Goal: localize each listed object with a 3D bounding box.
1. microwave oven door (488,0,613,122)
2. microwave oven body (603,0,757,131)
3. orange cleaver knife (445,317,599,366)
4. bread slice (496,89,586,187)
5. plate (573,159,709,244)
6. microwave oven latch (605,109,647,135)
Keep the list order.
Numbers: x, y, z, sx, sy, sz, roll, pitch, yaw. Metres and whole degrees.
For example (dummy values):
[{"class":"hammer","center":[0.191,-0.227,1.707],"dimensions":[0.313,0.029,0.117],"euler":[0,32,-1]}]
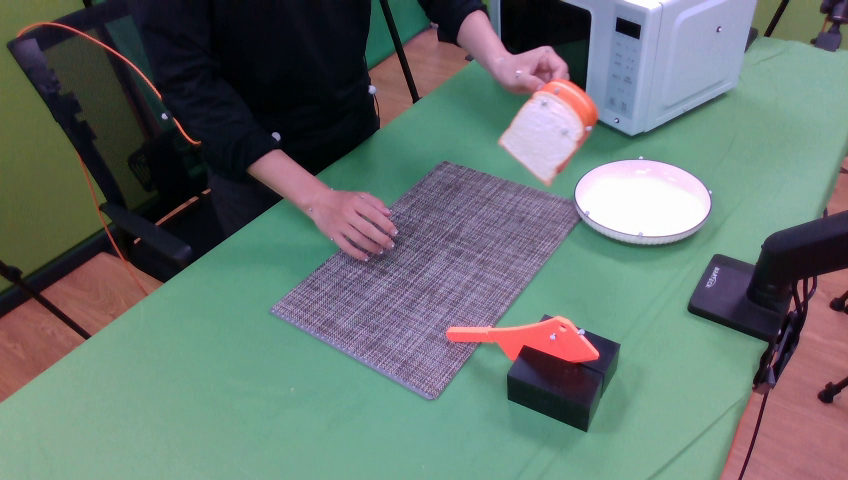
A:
[{"class":"microwave oven door","center":[0.250,-0.413,1.219],"dimensions":[0.039,0.245,0.352],"euler":[-27,44,-21]},{"class":"microwave oven body","center":[0.396,-0.448,1.248],"dimensions":[0.327,0.261,0.437],"euler":[-27,44,-21]},{"class":"orange cleaver knife","center":[0.115,0.129,0.751],"dimensions":[0.210,0.077,0.012],"euler":[-11,30,45]},{"class":"bread slice","center":[0.176,-0.157,0.894],"dimensions":[0.106,0.134,0.018],"euler":[39,49,9]},{"class":"plate","center":[0.347,-0.059,0.978],"dimensions":[0.207,0.039,0.206],"euler":[-4,41,4]},{"class":"microwave oven latch","center":[0.379,-0.225,1.139],"dimensions":[0.030,0.029,0.078],"euler":[-26,43,-20]}]
